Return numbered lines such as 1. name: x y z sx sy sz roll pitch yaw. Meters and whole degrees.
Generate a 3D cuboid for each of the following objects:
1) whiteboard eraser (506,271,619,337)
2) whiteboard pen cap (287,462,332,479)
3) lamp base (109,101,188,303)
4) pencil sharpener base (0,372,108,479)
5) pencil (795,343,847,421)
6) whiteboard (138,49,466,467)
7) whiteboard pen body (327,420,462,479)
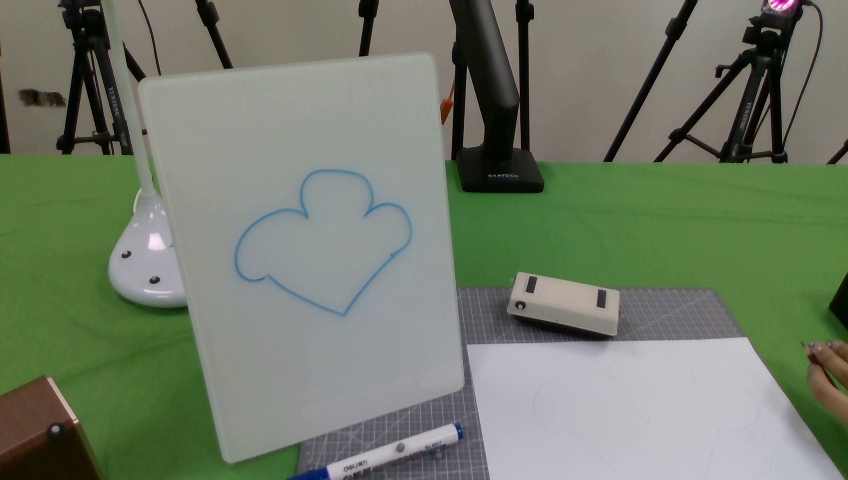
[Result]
1. whiteboard eraser: 0.146 0.068 0.639 0.112 0.042 0.055 11 36 11
2. whiteboard pen cap: -0.088 0.185 0.469 0.033 0.018 0.018 -13 38 -20
3. lamp base: -0.279 -0.049 0.655 0.177 0.182 0.160 24 40 31
4. pencil sharpener base: -0.274 0.160 0.419 0.077 0.108 0.061 -28 46 -36
5. pencil: 0.370 0.159 0.518 0.012 0.012 0.192 0 37 -4
6. whiteboard: -0.100 0.001 0.541 0.218 0.307 0.142 -12 18 -19
7. whiteboard pen body: -0.034 0.172 0.489 0.141 0.017 0.017 -12 38 -19
